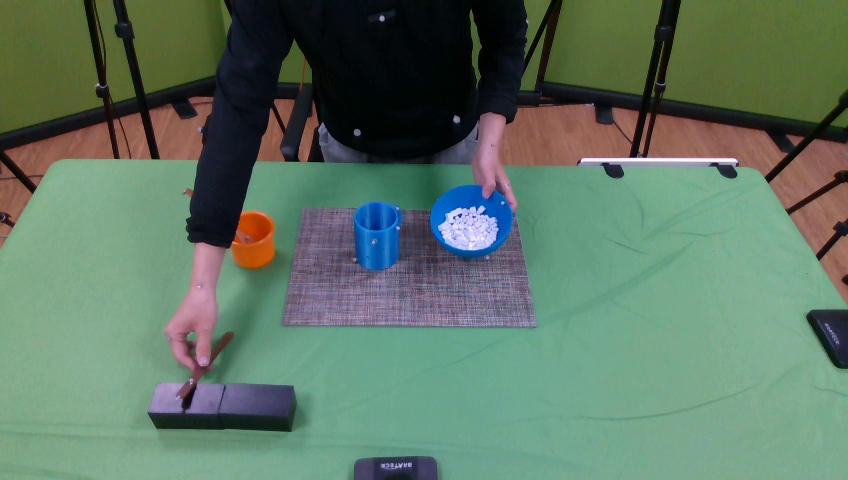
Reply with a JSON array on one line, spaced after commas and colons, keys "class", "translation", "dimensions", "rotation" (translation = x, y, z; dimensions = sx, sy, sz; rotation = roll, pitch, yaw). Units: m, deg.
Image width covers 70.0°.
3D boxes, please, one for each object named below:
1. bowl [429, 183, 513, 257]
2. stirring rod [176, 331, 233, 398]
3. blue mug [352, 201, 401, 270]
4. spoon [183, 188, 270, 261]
[{"class": "bowl", "translation": [0.086, -0.022, 1.117], "dimensions": [0.151, 0.077, 0.150], "rotation": [-3, 56, 4]}, {"class": "stirring rod", "translation": [-0.342, 0.192, 0.955], "dimensions": [0.014, 0.006, 0.175], "rotation": [3, 24, 6]}, {"class": "blue mug", "translation": [-0.082, -0.017, 1.144], "dimensions": [0.082, 0.106, 0.116], "rotation": [30, 51, 23]}, {"class": "spoon", "translation": [-0.360, -0.029, 1.110], "dimensions": [0.021, 0.194, 0.041], "rotation": [-21, 31, 41]}]
